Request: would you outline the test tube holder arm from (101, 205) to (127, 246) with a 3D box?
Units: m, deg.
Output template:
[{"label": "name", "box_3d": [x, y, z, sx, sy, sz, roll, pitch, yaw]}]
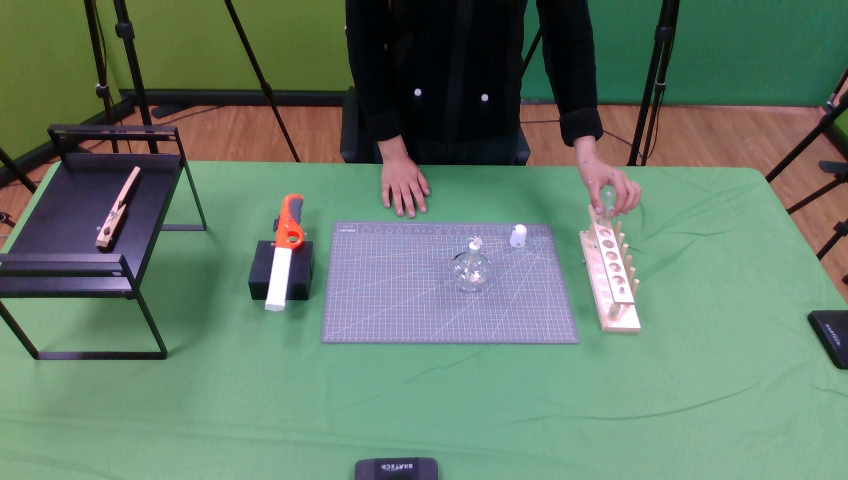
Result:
[{"label": "test tube holder arm", "box_3d": [-0.480, -0.024, 0.938, 0.010, 0.015, 0.087, 27, 37, -26]}]

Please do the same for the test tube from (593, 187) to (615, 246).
[{"label": "test tube", "box_3d": [0.339, -0.041, 1.146, 0.017, 0.151, 0.017, -1, 48, 1]}]

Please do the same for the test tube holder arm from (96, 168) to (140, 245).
[{"label": "test tube holder arm", "box_3d": [-0.486, -0.058, 0.968, 0.013, 0.015, 0.177, 27, 37, -26]}]

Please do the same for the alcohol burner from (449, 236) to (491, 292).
[{"label": "alcohol burner", "box_3d": [0.086, 0.038, 1.101, 0.078, 0.119, 0.077, 3, 45, -2]}]

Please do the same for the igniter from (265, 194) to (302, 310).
[{"label": "igniter", "box_3d": [-0.253, 0.011, 1.099, 0.057, 0.025, 0.274, 9, 46, -12]}]

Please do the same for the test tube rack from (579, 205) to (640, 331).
[{"label": "test tube rack", "box_3d": [0.353, 0.047, 1.137, 0.067, 0.085, 0.241, 2, 46, -2]}]

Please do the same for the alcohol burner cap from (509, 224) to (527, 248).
[{"label": "alcohol burner cap", "box_3d": [0.189, -0.011, 1.206, 0.034, 0.048, 0.033, 2, 45, -2]}]
